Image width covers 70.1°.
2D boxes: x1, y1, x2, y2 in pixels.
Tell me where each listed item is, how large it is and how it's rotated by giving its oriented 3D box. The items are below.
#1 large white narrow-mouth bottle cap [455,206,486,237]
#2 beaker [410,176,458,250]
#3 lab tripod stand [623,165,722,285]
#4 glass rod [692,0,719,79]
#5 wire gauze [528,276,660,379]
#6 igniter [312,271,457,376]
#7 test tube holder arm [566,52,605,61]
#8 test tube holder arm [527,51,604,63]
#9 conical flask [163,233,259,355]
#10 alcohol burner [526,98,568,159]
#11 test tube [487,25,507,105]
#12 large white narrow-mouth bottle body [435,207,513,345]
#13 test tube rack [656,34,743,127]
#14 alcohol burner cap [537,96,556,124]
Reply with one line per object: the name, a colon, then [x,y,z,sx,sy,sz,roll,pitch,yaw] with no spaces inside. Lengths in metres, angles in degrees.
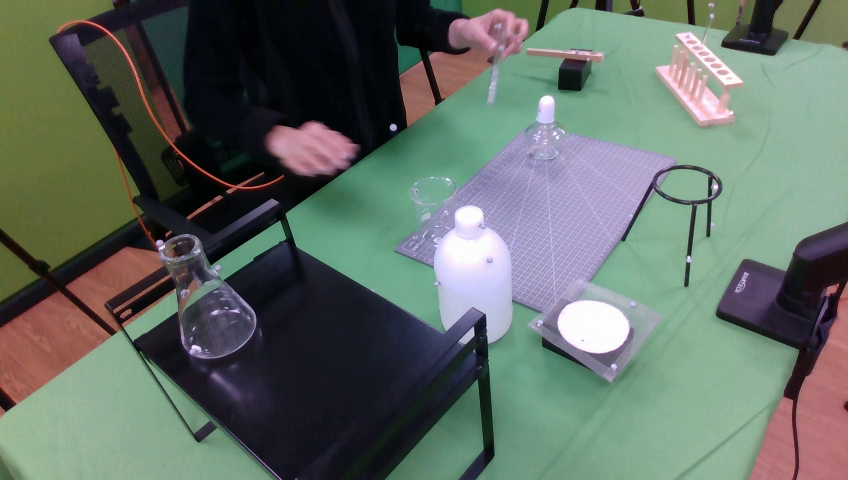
large white narrow-mouth bottle cap: [0.057,-0.023,0.734,0.038,0.024,0.037,-4,40,4]
beaker: [0.022,-0.041,0.963,0.073,0.101,0.084,28,51,35]
lab tripod stand: [0.365,-0.030,0.875,0.148,0.132,0.147,-6,41,6]
glass rod: [0.561,-0.401,1.214,0.008,0.200,0.008,-1,48,2]
wire gauze: [0.214,0.103,0.763,0.124,0.011,0.122,30,52,35]
igniter: [-0.068,0.111,0.859,0.274,0.025,0.057,27,61,34]
test tube holder arm: [0.352,-0.401,1.325,0.087,0.015,0.010,15,38,31]
test tube holder arm: [0.311,-0.408,1.344,0.177,0.015,0.013,14,38,30]
conical flask: [-0.216,0.051,0.601,0.075,0.122,0.075,-4,40,4]
alcohol burner: [0.228,-0.210,1.118,0.078,0.119,0.077,-5,43,5]
test tube: [0.126,-0.300,1.051,0.017,0.150,0.017,3,47,-2]
large white narrow-mouth bottle body: [0.065,0.041,0.791,0.102,0.195,0.101,-4,40,4]
test tube rack: [0.553,-0.330,1.233,0.067,0.085,0.241,-7,40,2]
alcohol burner cap: [0.223,-0.238,1.095,0.034,0.048,0.033,-2,37,2]
